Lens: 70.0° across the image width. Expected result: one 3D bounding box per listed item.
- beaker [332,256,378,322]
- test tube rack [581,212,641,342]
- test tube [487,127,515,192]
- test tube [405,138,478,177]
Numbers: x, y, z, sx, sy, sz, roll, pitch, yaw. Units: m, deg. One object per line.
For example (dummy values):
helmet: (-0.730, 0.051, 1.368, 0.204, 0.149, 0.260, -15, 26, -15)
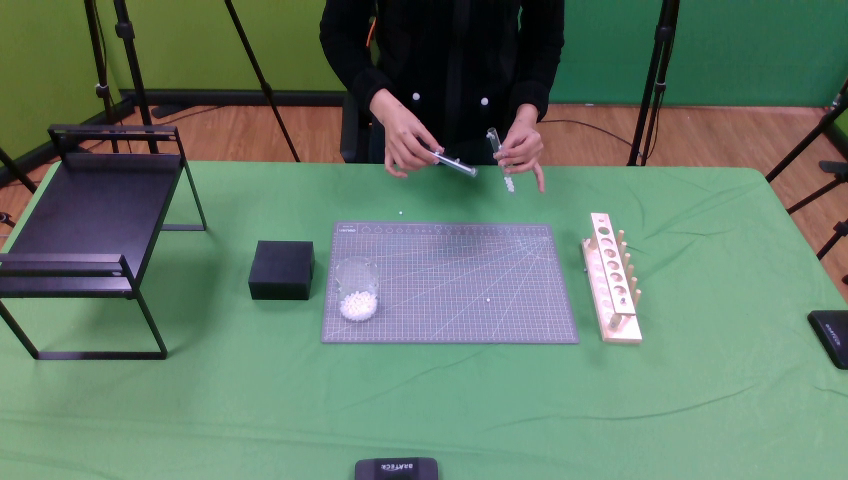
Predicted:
beaker: (-0.114, 0.089, 1.047, 0.083, 0.101, 0.074, 30, 52, 21)
test tube rack: (0.351, 0.063, 1.121, 0.067, 0.085, 0.241, 3, 46, -1)
test tube: (0.146, -0.148, 1.135, 0.017, 0.151, 0.017, -16, 40, 13)
test tube: (0.031, -0.153, 1.114, 0.150, 0.017, 0.017, 27, 50, 14)
